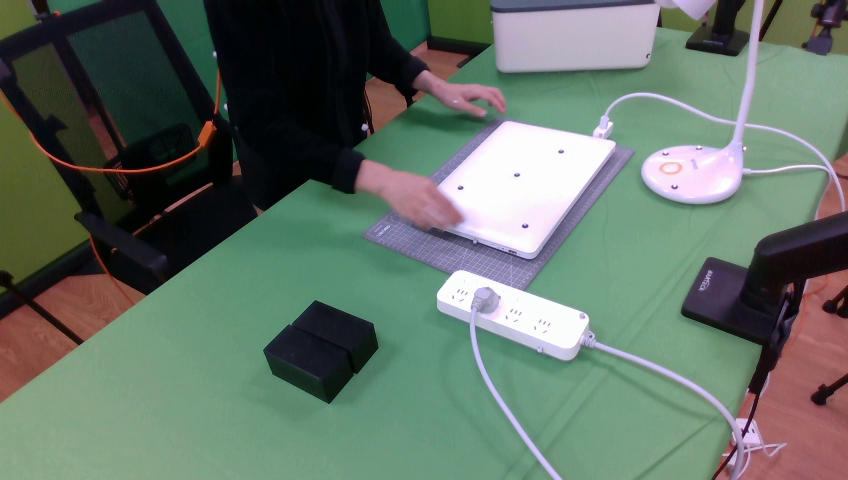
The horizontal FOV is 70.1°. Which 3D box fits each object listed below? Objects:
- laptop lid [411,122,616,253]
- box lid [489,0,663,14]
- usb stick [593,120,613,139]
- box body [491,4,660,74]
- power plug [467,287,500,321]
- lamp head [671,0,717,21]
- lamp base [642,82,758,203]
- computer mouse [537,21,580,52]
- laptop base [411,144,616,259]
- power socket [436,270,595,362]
[{"bbox_3d":[0.164,-0.111,1.067,0.240,0.013,0.357,19,46,31],"label":"laptop lid"},{"bbox_3d":[0.340,-0.575,1.380,0.371,0.015,0.262,0,41,9],"label":"box lid"},{"bbox_3d":[0.336,-0.201,1.147,0.021,0.027,0.059,26,53,27],"label":"usb stick"},{"bbox_3d":[0.346,-0.520,1.428,0.363,0.161,0.253,0,41,9],"label":"box body"},{"bbox_3d":[0.073,0.092,0.814,0.035,0.053,0.073,29,54,34],"label":"power plug"},{"bbox_3d":[0.375,-0.373,0.807,0.122,0.113,0.112,-40,27,32],"label":"lamp head"},{"bbox_3d":[0.464,-0.174,0.992,0.179,0.181,0.159,-5,41,-2],"label":"lamp base"},{"bbox_3d":[0.335,-0.503,1.487,0.118,0.041,0.062,21,20,-28],"label":"computer mouse"},{"bbox_3d":[0.168,-0.101,1.073,0.234,0.023,0.355,17,46,30],"label":"laptop base"},{"bbox_3d":[0.118,0.101,0.832,0.225,0.033,0.072,19,48,27],"label":"power socket"}]
